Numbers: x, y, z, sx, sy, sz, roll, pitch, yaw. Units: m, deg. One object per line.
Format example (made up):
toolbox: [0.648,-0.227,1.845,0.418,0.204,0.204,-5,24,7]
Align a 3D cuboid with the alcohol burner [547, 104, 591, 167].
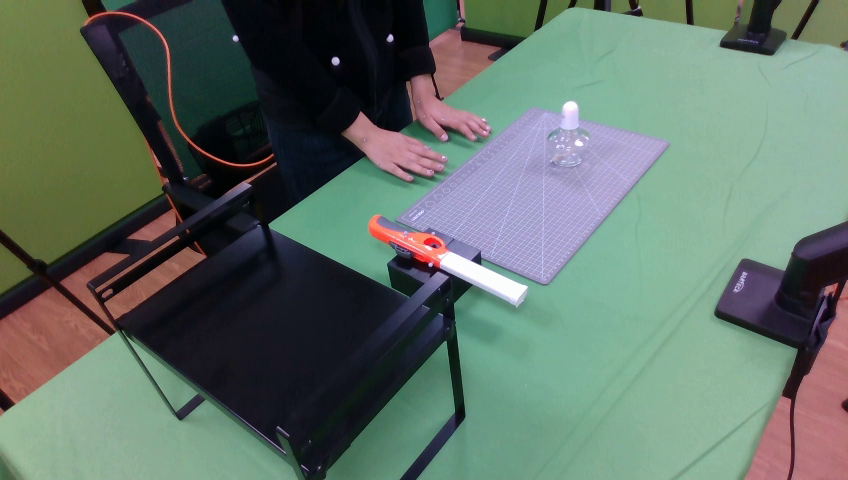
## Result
alcohol burner: [0.261,-0.192,1.087,0.078,0.119,0.077,-5,42,5]

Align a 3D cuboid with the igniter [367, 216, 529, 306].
igniter: [0.024,0.024,0.868,0.274,0.025,0.057,25,49,28]

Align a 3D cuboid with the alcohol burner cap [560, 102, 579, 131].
alcohol burner cap: [0.256,-0.219,1.064,0.034,0.048,0.033,-5,34,4]
